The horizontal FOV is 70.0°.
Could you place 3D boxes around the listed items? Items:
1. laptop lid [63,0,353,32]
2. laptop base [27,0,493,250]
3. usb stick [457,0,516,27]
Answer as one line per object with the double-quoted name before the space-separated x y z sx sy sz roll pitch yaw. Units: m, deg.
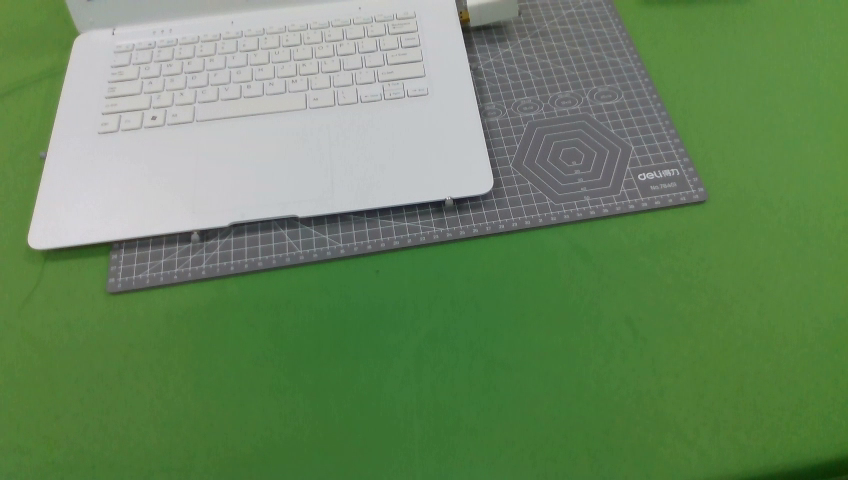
"laptop lid" -0.159 -0.308 0.508 0.357 0.244 0.013 -9 34 -1
"laptop base" -0.134 -0.111 0.514 0.354 0.023 0.233 -7 62 -2
"usb stick" 0.052 -0.210 0.547 0.059 0.027 0.021 -10 60 10
